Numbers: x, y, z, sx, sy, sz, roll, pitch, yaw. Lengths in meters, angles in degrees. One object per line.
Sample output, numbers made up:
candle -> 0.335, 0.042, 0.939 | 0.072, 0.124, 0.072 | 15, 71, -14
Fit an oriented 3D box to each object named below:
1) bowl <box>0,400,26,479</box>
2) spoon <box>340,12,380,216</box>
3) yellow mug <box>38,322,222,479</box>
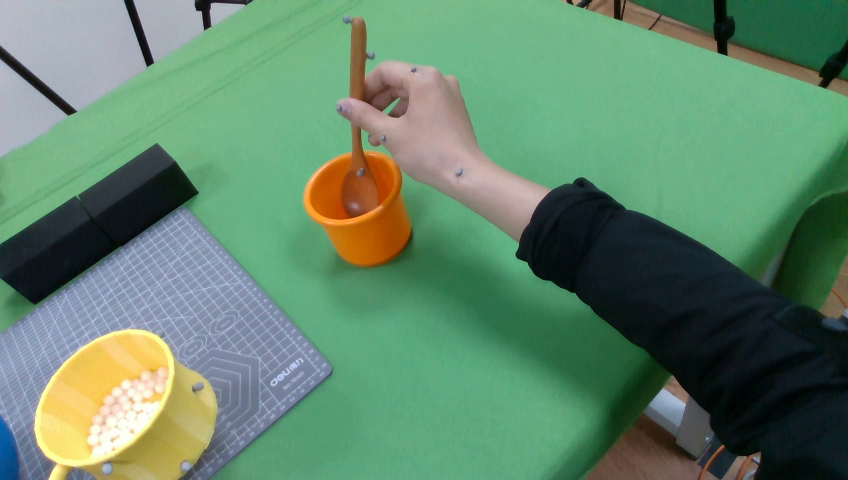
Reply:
bowl -> -0.369, 0.194, 0.466 | 0.151, 0.077, 0.150 | -7, 50, 9
spoon -> -0.054, -0.098, 0.520 | 0.041, 0.195, 0.021 | 22, 48, 14
yellow mug -> -0.212, 0.129, 0.426 | 0.099, 0.064, 0.130 | 8, 56, 20
